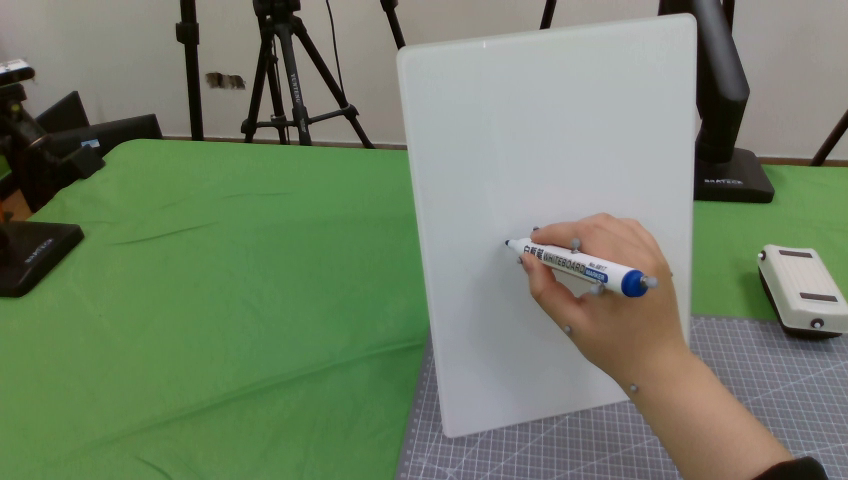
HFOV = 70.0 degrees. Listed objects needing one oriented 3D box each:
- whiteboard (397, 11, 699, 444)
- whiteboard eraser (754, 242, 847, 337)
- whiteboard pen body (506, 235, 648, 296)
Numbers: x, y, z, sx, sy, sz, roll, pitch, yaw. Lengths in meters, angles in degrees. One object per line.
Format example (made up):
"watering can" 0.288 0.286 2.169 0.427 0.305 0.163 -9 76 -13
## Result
"whiteboard" 0.093 -0.018 0.517 0.217 0.307 0.143 -9 18 -8
"whiteboard eraser" 0.362 0.047 0.585 0.055 0.042 0.112 4 34 11
"whiteboard pen body" 0.088 0.012 0.382 0.017 0.017 0.139 -18 16 -19
